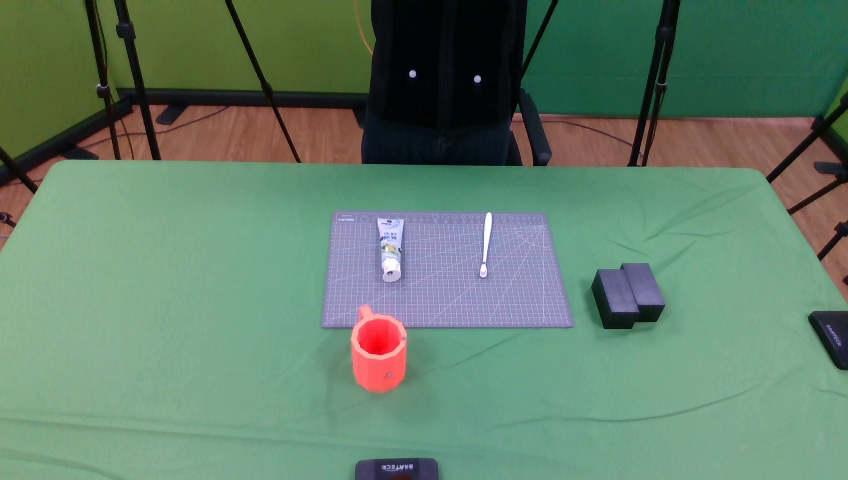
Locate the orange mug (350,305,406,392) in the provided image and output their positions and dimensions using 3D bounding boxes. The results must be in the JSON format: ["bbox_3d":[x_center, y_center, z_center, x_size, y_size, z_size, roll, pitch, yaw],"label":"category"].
[{"bbox_3d":[-0.080,0.168,0.978,0.083,0.101,0.125,-16,54,-18],"label":"orange mug"}]

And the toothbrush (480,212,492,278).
[{"bbox_3d":[0.124,0.004,1.203,0.014,0.017,0.181,-3,43,14],"label":"toothbrush"}]

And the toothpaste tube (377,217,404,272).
[{"bbox_3d":[-0.063,0.008,1.179,0.055,0.034,0.164,5,42,-9],"label":"toothpaste tube"}]

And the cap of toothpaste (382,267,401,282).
[{"bbox_3d":[-0.060,0.063,1.119,0.037,0.037,0.011,-9,50,-12],"label":"cap of toothpaste"}]
